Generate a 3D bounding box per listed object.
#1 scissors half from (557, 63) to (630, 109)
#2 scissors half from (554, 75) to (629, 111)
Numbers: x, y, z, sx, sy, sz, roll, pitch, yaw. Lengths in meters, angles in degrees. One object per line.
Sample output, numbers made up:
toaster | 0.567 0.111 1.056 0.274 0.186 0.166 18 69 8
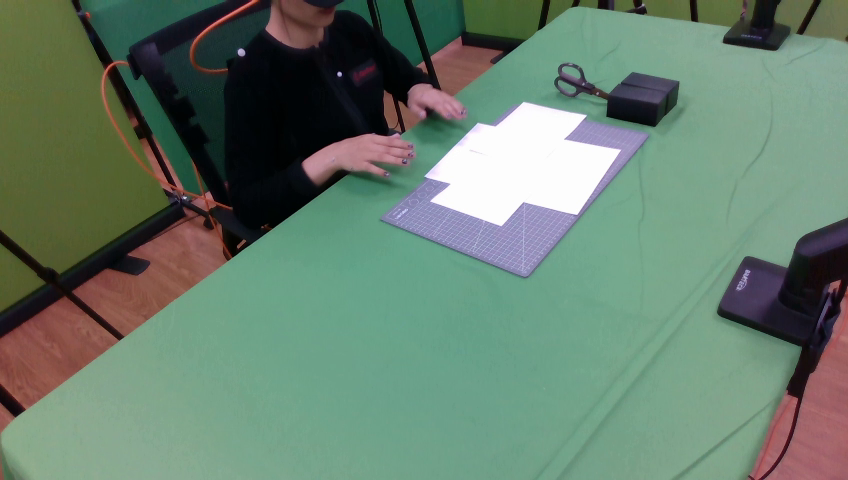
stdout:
scissors half | 0.353 -0.318 1.255 0.174 0.040 0.013 37 56 13
scissors half | 0.350 -0.305 1.270 0.174 0.040 0.013 28 48 24
